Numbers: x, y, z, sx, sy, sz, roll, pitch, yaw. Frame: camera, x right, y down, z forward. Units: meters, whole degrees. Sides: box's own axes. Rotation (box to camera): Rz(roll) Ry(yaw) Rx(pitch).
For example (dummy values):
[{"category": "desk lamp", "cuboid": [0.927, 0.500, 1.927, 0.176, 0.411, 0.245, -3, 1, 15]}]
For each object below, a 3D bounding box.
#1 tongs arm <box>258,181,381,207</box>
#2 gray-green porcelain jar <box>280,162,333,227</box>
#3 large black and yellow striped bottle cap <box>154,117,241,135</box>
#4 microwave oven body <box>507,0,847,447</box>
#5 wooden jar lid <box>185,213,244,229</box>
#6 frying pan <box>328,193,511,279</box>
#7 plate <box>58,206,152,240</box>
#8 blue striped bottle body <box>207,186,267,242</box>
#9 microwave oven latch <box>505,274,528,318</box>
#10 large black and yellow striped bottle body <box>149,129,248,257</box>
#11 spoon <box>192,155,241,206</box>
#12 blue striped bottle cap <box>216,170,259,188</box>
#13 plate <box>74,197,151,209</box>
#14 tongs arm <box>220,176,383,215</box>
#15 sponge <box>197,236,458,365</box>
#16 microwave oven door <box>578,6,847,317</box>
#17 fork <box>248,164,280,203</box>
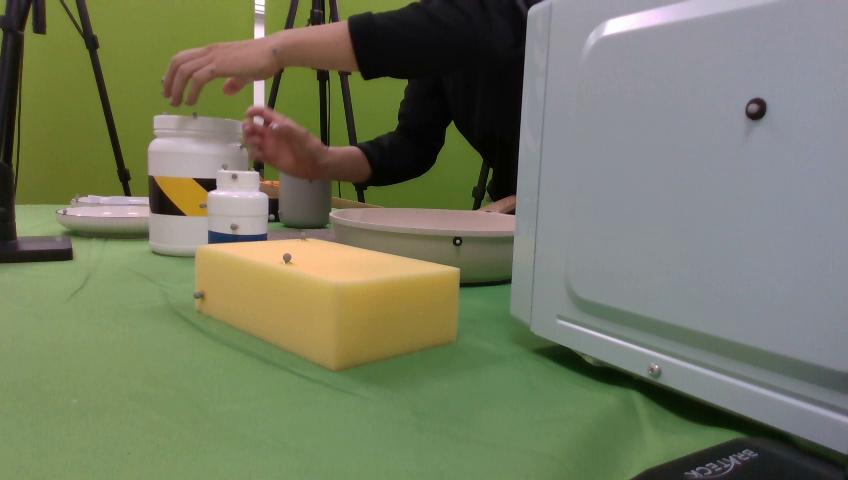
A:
[{"category": "tongs arm", "cuboid": [-0.241, -0.095, 1.373, 0.387, 0.026, 0.050, 9, 0, -37]}, {"category": "gray-green porcelain jar", "cuboid": [-0.238, -0.092, 1.221, 0.106, 0.126, 0.106, 2, 7, 0]}, {"category": "large black and yellow striped bottle cap", "cuboid": [-0.314, -0.158, 0.843, 0.115, 0.019, 0.115, 3, 7, 0]}, {"category": "microwave oven body", "cuboid": [0.331, -0.042, 0.425, 0.444, 0.260, 0.324, -2, 8, -31]}, {"category": "wooden jar lid", "cuboid": [-0.404, -0.037, 1.169, 0.108, 0.020, 0.108, 3, 7, 0]}, {"category": "frying pan", "cuboid": [0.072, -0.030, 0.883, 0.305, 0.102, 0.490, 7, 17, 28]}, {"category": "plate", "cuboid": [-0.496, -0.030, 1.021, 0.209, 0.038, 0.209, 2, 8, 0]}, {"category": "blue striped bottle body", "cuboid": [-0.204, -0.016, 0.661, 0.063, 0.120, 0.063, 2, 7, 0]}, {"category": "microwave oven latch", "cuboid": [0.100, 0.041, 0.473, 0.079, 0.029, 0.030, -2, 8, -31]}, {"category": "large black and yellow striped bottle body", "cuboid": [-0.315, -0.075, 0.854, 0.131, 0.184, 0.130, 2, 7, 0]}, {"category": "spoon", "cuboid": [-0.489, -0.136, 1.418, 0.041, 0.021, 0.194, 1, -35, 19]}, {"category": "blue striped bottle cap", "cuboid": [-0.201, -0.066, 0.654, 0.044, 0.020, 0.044, -1, 5, 0]}, {"category": "plate", "cuboid": [-0.596, -0.062, 1.238, 0.208, 0.039, 0.207, 2, 8, 0]}, {"category": "tongs arm", "cuboid": [-0.285, -0.104, 1.445, 0.389, 0.027, 0.028, 9, -4, -23]}, {"category": "sponge", "cuboid": [-0.087, 0.039, 0.500, 0.206, 0.061, 0.119, 8, 10, 44]}, {"category": "microwave oven door", "cuboid": [0.294, -0.067, 0.570, 0.358, 0.243, 0.039, -3, 9, -31]}, {"category": "fork", "cuboid": [-0.398, -0.144, 1.489, 0.028, 0.018, 0.208, 21, -24, 47]}]
